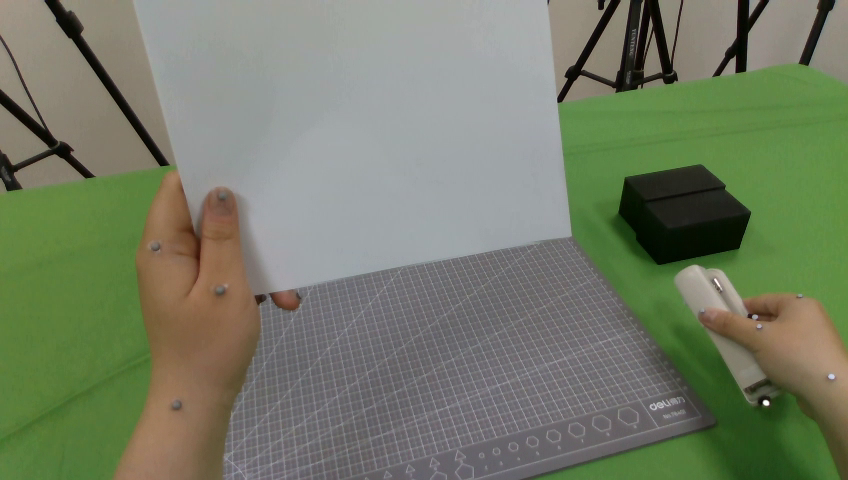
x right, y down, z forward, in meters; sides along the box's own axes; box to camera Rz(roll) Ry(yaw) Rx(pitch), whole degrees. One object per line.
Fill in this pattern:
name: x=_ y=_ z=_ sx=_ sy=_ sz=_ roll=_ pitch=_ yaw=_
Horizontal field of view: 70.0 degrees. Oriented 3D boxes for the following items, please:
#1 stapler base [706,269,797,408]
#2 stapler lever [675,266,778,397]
stapler base: x=0.271 y=0.081 z=0.536 sx=0.024 sy=0.041 sz=0.129 roll=21 pitch=39 yaw=-40
stapler lever: x=0.255 y=0.074 z=0.519 sx=0.040 sy=0.027 sz=0.117 roll=22 pitch=39 yaw=-40
